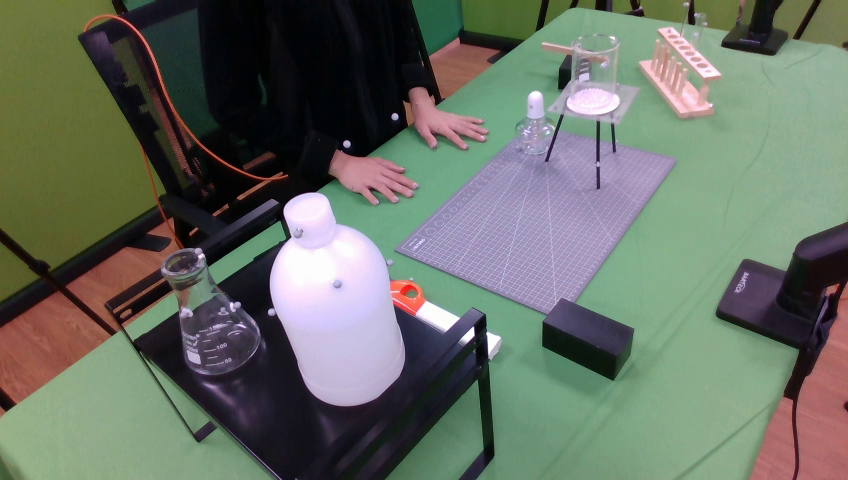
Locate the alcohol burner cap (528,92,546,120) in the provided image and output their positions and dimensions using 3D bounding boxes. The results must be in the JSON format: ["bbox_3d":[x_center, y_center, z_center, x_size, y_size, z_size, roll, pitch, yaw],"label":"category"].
[{"bbox_3d":[0.206,-0.249,1.112,0.034,0.048,0.033,-6,35,5],"label":"alcohol burner cap"}]

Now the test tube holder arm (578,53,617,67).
[{"bbox_3d":[0.376,-0.393,1.314,0.087,0.015,0.010,26,51,32],"label":"test tube holder arm"}]

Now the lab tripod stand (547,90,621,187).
[{"bbox_3d":[0.289,-0.184,1.062,0.148,0.132,0.147,-6,41,6],"label":"lab tripod stand"}]

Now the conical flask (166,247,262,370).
[{"bbox_3d":[-0.209,0.064,0.584,0.075,0.122,0.075,-5,40,4],"label":"conical flask"}]

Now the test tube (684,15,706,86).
[{"bbox_3d":[0.541,-0.378,1.216,0.017,0.151,0.017,-2,44,3],"label":"test tube"}]

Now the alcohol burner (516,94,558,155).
[{"bbox_3d":[0.212,-0.221,1.135,0.078,0.119,0.077,-5,43,5],"label":"alcohol burner"}]

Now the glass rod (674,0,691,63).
[{"bbox_3d":[0.537,-0.437,1.257,0.008,0.200,0.008,0,39,1],"label":"glass rod"}]

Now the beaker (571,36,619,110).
[{"bbox_3d":[0.281,-0.273,0.992,0.084,0.101,0.073,-24,42,-16],"label":"beaker"}]

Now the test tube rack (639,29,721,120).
[{"bbox_3d":[0.527,-0.351,1.262,0.067,0.085,0.241,-8,40,1],"label":"test tube rack"}]

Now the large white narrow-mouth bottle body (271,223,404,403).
[{"bbox_3d":[-0.077,0.048,0.525,0.102,0.195,0.101,-5,40,5],"label":"large white narrow-mouth bottle body"}]

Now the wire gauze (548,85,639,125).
[{"bbox_3d":[0.286,-0.233,1.020,0.124,0.011,0.122,15,43,30],"label":"wire gauze"}]

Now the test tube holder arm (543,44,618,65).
[{"bbox_3d":[0.344,-0.412,1.341,0.177,0.015,0.013,25,51,31],"label":"test tube holder arm"}]

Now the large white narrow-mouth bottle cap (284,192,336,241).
[{"bbox_3d":[-0.087,-0.019,0.466,0.038,0.024,0.037,-5,40,4],"label":"large white narrow-mouth bottle cap"}]

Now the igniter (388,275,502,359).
[{"bbox_3d":[-0.009,0.094,0.870,0.274,0.025,0.057,25,61,33],"label":"igniter"}]
